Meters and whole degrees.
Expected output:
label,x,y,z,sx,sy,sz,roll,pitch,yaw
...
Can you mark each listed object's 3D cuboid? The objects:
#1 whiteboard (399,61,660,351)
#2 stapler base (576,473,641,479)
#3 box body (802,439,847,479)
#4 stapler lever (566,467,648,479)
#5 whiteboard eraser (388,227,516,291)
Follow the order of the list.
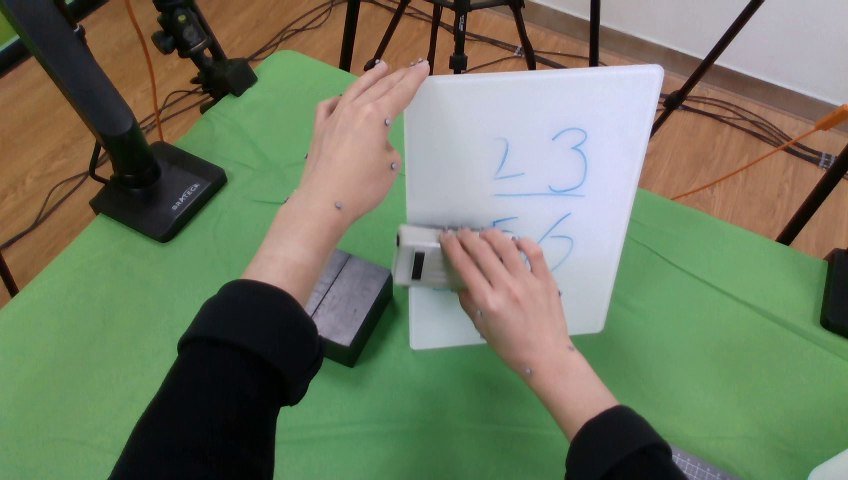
label,x,y,z,sx,sy,sz,roll,pitch,yaw
whiteboard,0.080,-0.053,0.625,0.217,0.308,0.142,-4,37,-5
stapler base,0.145,0.240,0.560,0.131,0.024,0.041,-6,51,-3
box body,0.526,0.288,0.467,0.255,0.161,0.360,-15,58,-14
stapler lever,0.143,0.225,0.540,0.118,0.040,0.026,-6,51,-4
whiteboard eraser,0.025,0.016,0.558,0.113,0.056,0.041,2,35,-10
